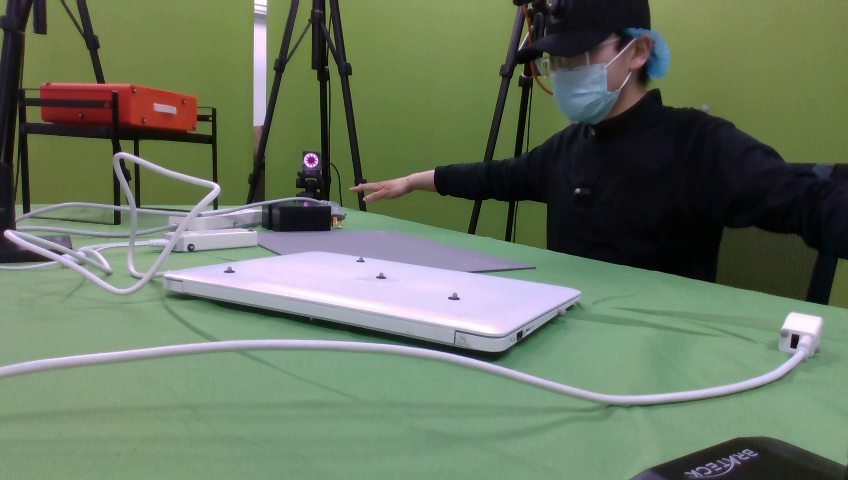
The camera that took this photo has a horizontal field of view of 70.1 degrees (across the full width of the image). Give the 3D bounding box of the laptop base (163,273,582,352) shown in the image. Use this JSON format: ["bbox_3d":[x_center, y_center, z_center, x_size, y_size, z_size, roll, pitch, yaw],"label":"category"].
[{"bbox_3d":[-0.046,0.052,0.598,0.353,0.023,0.236,7,6,28],"label":"laptop base"}]

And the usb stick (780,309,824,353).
[{"bbox_3d":[0.311,0.072,0.497,0.027,0.021,0.059,6,14,34],"label":"usb stick"}]

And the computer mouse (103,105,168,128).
[{"bbox_3d":[-0.582,-0.249,1.223,0.118,0.041,0.062,2,3,-39],"label":"computer mouse"}]

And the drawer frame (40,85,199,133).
[{"bbox_3d":[-0.612,-0.266,1.235,0.213,0.082,0.202,4,8,15],"label":"drawer frame"}]

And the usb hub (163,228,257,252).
[{"bbox_3d":[-0.313,-0.001,0.894,0.049,0.025,0.126,9,10,41],"label":"usb hub"}]

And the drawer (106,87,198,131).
[{"bbox_3d":[-0.609,-0.264,1.235,0.211,0.073,0.195,4,8,16],"label":"drawer"}]

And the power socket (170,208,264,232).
[{"bbox_3d":[-0.380,-0.038,1.129,0.072,0.032,0.227,4,8,15],"label":"power socket"}]

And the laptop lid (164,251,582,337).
[{"bbox_3d":[-0.045,0.040,0.599,0.355,0.013,0.243,7,7,30],"label":"laptop lid"}]

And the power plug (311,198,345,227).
[{"bbox_3d":[-0.195,-0.053,1.220,0.073,0.052,0.035,4,-22,-21],"label":"power plug"}]
